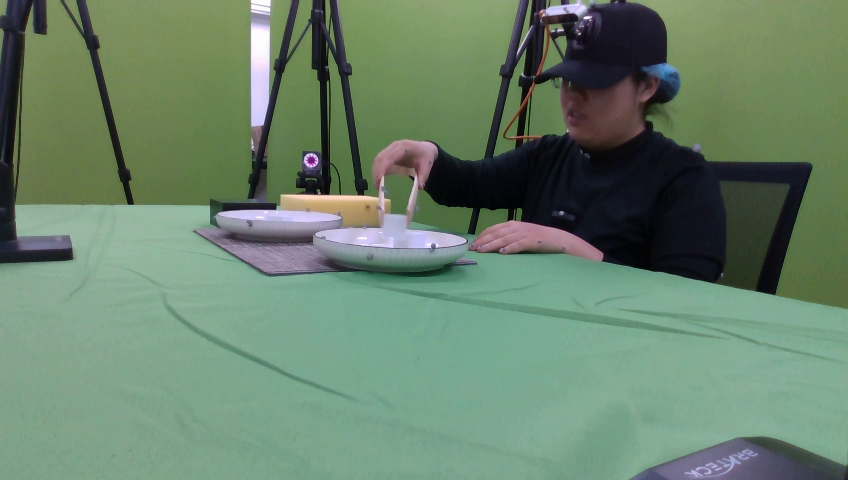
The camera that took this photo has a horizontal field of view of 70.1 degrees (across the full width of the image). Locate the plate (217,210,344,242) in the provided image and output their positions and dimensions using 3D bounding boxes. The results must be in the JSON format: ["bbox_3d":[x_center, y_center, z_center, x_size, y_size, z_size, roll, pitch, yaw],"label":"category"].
[{"bbox_3d":[-0.241,-0.024,1.026,0.208,0.039,0.207,3,7,0],"label":"plate"}]

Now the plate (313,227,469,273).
[{"bbox_3d":[-0.044,0.012,0.807,0.209,0.038,0.209,2,7,0],"label":"plate"}]

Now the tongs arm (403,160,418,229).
[{"bbox_3d":[-0.024,-0.081,0.953,0.028,0.028,0.387,0,17,0],"label":"tongs arm"}]

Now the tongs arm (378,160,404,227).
[{"bbox_3d":[-0.047,-0.082,0.952,0.051,0.026,0.384,2,17,-6],"label":"tongs arm"}]

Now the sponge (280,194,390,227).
[{"bbox_3d":[-0.188,-0.063,1.291,0.208,0.061,0.117,-2,9,-35],"label":"sponge"}]
